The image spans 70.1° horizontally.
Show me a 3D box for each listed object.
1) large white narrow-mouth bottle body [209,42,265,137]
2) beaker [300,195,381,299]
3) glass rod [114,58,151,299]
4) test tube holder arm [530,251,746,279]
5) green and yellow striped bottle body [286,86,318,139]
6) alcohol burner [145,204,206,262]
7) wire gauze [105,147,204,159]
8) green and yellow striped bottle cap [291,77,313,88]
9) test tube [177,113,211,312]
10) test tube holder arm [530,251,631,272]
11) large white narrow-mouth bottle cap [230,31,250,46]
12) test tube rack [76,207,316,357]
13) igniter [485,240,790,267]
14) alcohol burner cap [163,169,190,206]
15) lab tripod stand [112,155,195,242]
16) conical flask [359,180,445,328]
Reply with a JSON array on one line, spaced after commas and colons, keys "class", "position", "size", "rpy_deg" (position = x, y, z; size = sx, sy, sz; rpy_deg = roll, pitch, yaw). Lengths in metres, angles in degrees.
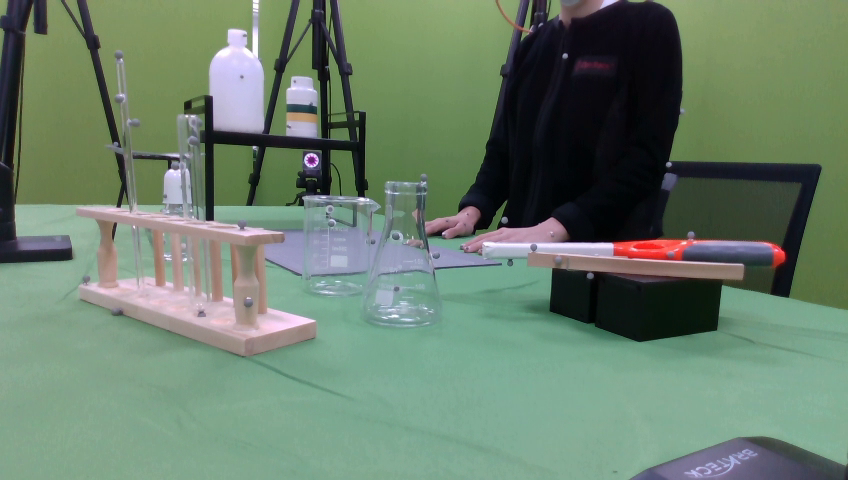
[{"class": "large white narrow-mouth bottle body", "position": [-0.361, -0.303, 1.175], "size": [0.102, 0.194, 0.102], "rpy_deg": [4, 6, 0]}, {"class": "beaker", "position": [-0.087, 0.006, 0.626], "size": [0.084, 0.100, 0.074], "rpy_deg": [1, 8, -17]}, {"class": "glass rod", "position": [-0.236, -0.044, 0.492], "size": [0.008, 0.199, 0.008], "rpy_deg": [0, 15, 0]}, {"class": "test tube holder arm", "position": [0.182, 0.022, 0.524], "size": [0.178, 0.015, 0.013], "rpy_deg": [3, 6, 12]}, {"class": "green and yellow striped bottle body", "position": [-0.251, -0.270, 1.245], "size": [0.063, 0.119, 0.063], "rpy_deg": [2, 7, 0]}, {"class": "alcohol burner", "position": [-0.321, -0.032, 0.788], "size": [0.078, 0.119, 0.078], "rpy_deg": [0, 7, 0]}, {"class": "wire gauze", "position": [-0.407, -0.131, 0.928], "size": [0.125, 0.011, 0.121], "rpy_deg": [2, 6, -11]}, {"class": "green and yellow striped bottle cap", "position": [-0.249, -0.321, 1.237], "size": [0.045, 0.020, 0.045], "rpy_deg": [3, 5, 0]}, {"class": "test tube", "position": [-0.174, -0.020, 0.458], "size": [0.017, 0.150, 0.017], "rpy_deg": [-2, 5, 0]}, {"class": "test tube holder arm", "position": [0.139, 0.019, 0.538], "size": [0.087, 0.015, 0.010], "rpy_deg": [3, 6, 13]}, {"class": "large white narrow-mouth bottle cap", "position": [-0.354, -0.389, 1.167], "size": [0.038, 0.024, 0.037], "rpy_deg": [4, 6, 0]}, {"class": "test tube rack", "position": [-0.196, 0.023, 0.500], "size": [0.241, 0.085, 0.067], "rpy_deg": [8, 9, 36]}, {"class": "igniter", "position": [0.197, 0.012, 0.585], "size": [0.276, 0.025, 0.057], "rpy_deg": [1, 5, 11]}, {"class": "alcohol burner cap", "position": [-0.320, -0.067, 0.782], "size": [0.034, 0.048, 0.034], "rpy_deg": [1, 7, 0]}, {"class": "lab tripod stand", "position": [-0.405, -0.064, 0.931], "size": [0.148, 0.131, 0.148], "rpy_deg": [1, 7, 0]}, {"class": "conical flask", "position": [-0.017, 0.010, 0.522], "size": [0.075, 0.122, 0.075], "rpy_deg": [2, 7, 0]}]
